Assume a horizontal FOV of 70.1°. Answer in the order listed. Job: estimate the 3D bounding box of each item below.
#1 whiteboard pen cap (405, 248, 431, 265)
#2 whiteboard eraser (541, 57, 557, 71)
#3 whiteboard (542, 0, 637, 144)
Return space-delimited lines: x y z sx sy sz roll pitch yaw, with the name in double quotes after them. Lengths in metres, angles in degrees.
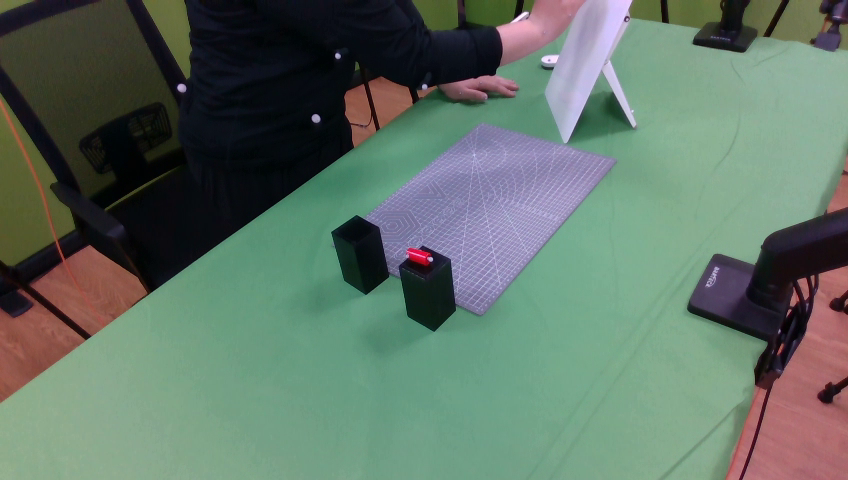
-0.008 0.021 0.794 0.032 0.017 0.017 16 46 28 "whiteboard pen cap"
0.324 -0.412 1.408 0.101 0.019 0.041 2 42 11 "whiteboard eraser"
0.366 -0.351 1.160 0.144 0.305 0.216 9 39 -10 "whiteboard"
